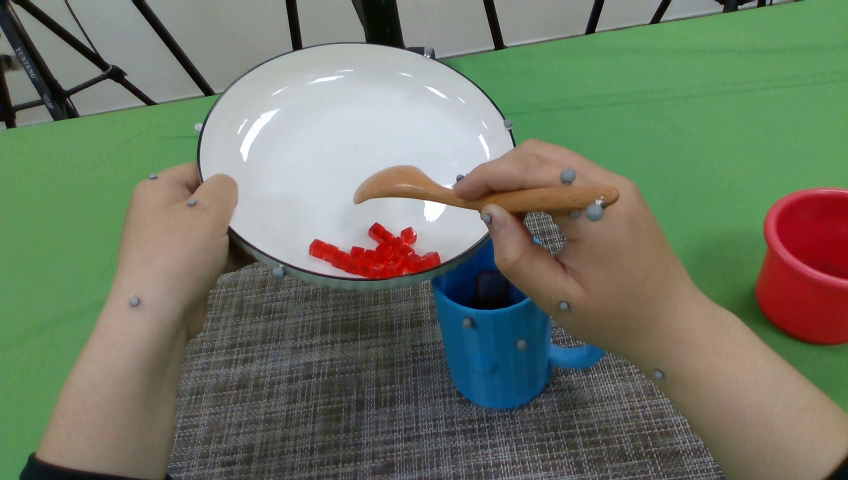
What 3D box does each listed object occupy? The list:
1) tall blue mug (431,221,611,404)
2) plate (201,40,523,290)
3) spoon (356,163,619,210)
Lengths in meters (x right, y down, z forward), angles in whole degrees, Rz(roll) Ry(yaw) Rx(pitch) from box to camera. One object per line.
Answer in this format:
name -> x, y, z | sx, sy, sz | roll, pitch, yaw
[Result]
tall blue mug -> 0.064, 0.048, 0.415 | 0.107, 0.109, 0.077 | -13, 43, -1
plate -> -0.039, -0.053, 0.410 | 0.208, 0.039, 0.205 | 3, 56, -5
spoon -> 0.020, -0.025, 0.302 | 0.041, 0.022, 0.192 | -31, 24, -28
